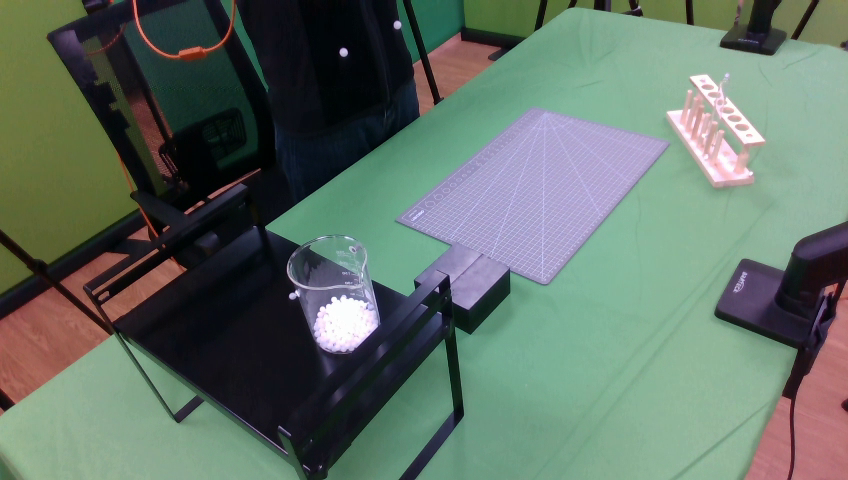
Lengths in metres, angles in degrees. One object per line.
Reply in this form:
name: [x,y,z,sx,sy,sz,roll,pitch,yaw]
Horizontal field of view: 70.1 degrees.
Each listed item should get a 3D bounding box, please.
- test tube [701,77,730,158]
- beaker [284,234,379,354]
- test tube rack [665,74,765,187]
test tube: [0.491,-0.204,1.020,0.017,0.151,0.017,-4,41,4]
beaker: [-0.083,0.056,0.585,0.083,0.101,0.074,28,52,33]
test tube rack: [0.512,-0.201,1.082,0.067,0.085,0.241,-6,41,2]
